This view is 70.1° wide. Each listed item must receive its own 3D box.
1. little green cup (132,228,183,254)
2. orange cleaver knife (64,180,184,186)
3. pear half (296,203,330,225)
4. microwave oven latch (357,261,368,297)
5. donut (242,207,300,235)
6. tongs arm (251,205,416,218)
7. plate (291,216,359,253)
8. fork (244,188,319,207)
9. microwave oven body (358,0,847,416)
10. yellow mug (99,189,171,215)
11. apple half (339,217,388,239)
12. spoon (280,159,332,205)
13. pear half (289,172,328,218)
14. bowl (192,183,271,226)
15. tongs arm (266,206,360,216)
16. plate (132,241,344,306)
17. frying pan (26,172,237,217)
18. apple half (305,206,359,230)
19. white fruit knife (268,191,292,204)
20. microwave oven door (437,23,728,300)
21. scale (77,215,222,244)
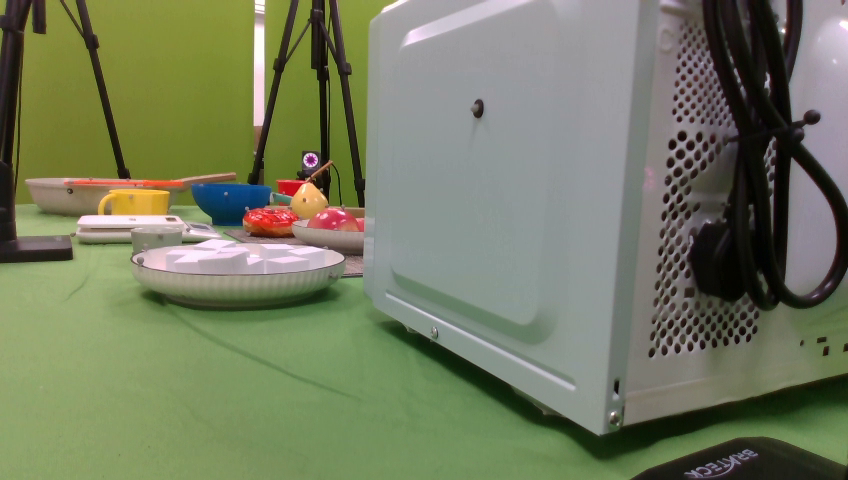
[{"bbox_3d":[-0.342,0.006,0.779,0.061,0.038,0.061,2,8,0],"label":"little green cup"},{"bbox_3d":[-0.595,-0.114,1.212,0.212,0.012,0.077,-4,6,-41],"label":"orange cleaver knife"},{"bbox_3d":[-0.229,-0.051,1.258,0.070,0.031,0.088,-2,20,-2],"label":"pear half"},{"bbox_3d":[-0.019,0.033,0.531,0.079,0.029,0.030,-1,7,-27],"label":"microwave oven latch"},{"bbox_3d":[-0.263,-0.032,1.039,0.099,0.048,0.099,4,10,0],"label":"donut"},{"bbox_3d":[-0.210,-0.067,1.440,0.389,0.027,0.028,0,-1,-17],"label":"tongs arm"},{"bbox_3d":[-0.102,-0.010,0.945,0.209,0.038,0.209,2,8,0],"label":"plate"},{"bbox_3d":[-0.356,-0.105,1.526,0.208,0.018,0.028,16,-5,-41],"label":"fork"},{"bbox_3d":[0.211,-0.047,0.475,0.444,0.260,0.324,-1,7,-28],"label":"microwave oven body"},{"bbox_3d":[-0.519,-0.055,1.080,0.099,0.064,0.131,7,9,26],"label":"yellow mug"},{"bbox_3d":[-0.097,-0.021,0.985,0.081,0.033,0.081,-2,8,1],"label":"apple half"},{"bbox_3d":[-0.316,-0.159,1.640,0.194,0.022,0.041,-50,32,-20],"label":"spoon"},{"bbox_3d":[-0.228,-0.078,1.183,0.076,0.110,0.056,-1,8,1],"label":"pear half"},{"bbox_3d":[-0.382,-0.071,1.202,0.151,0.077,0.151,3,7,0],"label":"bowl"},{"bbox_3d":[-0.173,-0.061,1.362,0.387,0.026,0.050,-1,3,-31],"label":"tongs arm"},{"bbox_3d":[-0.187,0.033,0.625,0.208,0.039,0.207,2,8,0],"label":"plate"},{"bbox_3d":[-0.624,-0.118,1.387,0.305,0.102,0.490,8,17,32],"label":"frying pan"},{"bbox_3d":[-0.137,-0.024,0.914,0.081,0.053,0.074,1,9,-38],"label":"apple half"},{"bbox_3d":[-0.364,-0.105,1.464,0.208,0.027,0.016,15,-1,-34],"label":"white fruit knife"},{"bbox_3d":[0.181,-0.072,0.621,0.358,0.243,0.039,-2,8,-29],"label":"microwave oven door"},{"bbox_3d":[-0.434,-0.019,0.963,0.202,0.031,0.148,-1,9,-27],"label":"scale"}]
